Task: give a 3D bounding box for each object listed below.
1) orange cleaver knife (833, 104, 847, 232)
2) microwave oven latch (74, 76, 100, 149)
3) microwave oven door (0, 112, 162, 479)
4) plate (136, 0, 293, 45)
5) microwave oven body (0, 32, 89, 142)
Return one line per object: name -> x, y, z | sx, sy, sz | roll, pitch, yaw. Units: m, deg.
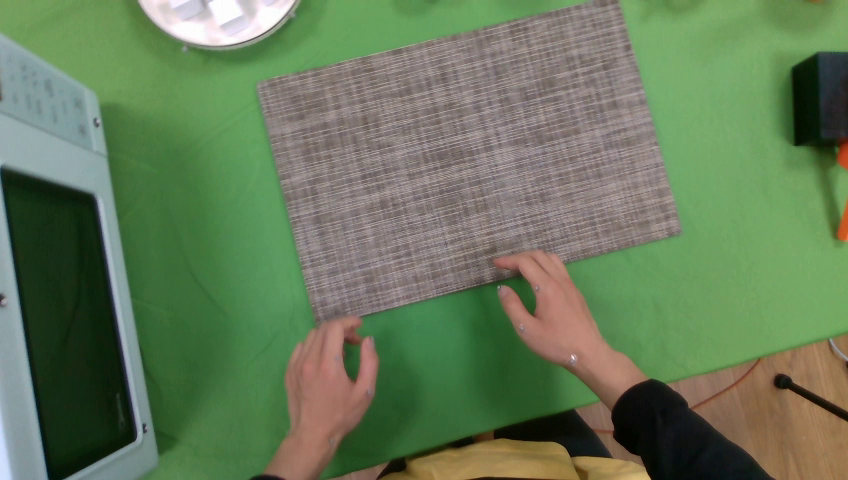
orange cleaver knife -> 0.500, -0.114, 0.698 | 0.012, 0.076, 0.213 | 0, 116, 1
microwave oven latch -> -0.390, -0.142, 0.683 | 0.030, 0.029, 0.079 | -10, 88, -2
microwave oven door -> -0.346, 0.067, 0.573 | 0.039, 0.244, 0.355 | -12, 87, -1
plate -> -0.243, -0.328, 0.714 | 0.208, 0.039, 0.207 | 0, 87, -1
microwave oven body -> -0.498, 0.055, 0.575 | 0.326, 0.260, 0.441 | -12, 88, -2
